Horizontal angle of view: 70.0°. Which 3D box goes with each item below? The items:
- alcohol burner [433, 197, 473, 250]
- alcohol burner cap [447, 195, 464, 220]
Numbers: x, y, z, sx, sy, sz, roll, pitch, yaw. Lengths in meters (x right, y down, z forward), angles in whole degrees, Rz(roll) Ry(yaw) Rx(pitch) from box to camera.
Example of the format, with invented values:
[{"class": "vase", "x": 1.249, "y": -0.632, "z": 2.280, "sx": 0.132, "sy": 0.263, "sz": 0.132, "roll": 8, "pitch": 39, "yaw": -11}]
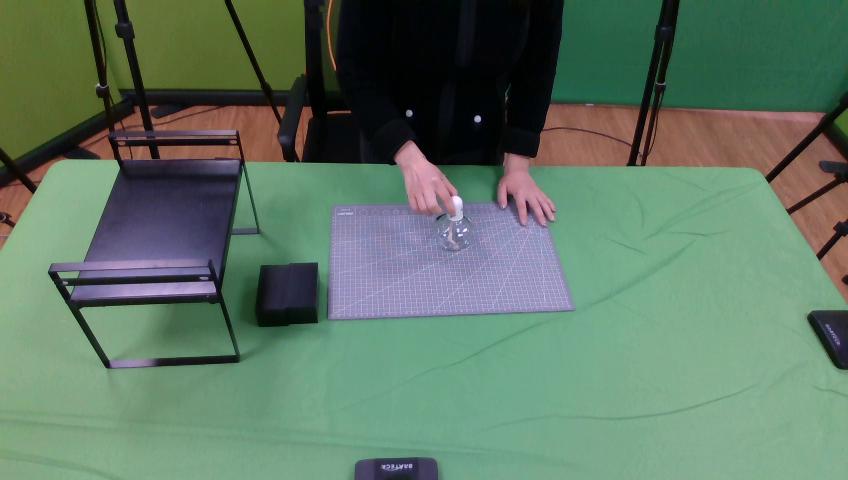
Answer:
[{"class": "alcohol burner", "x": 0.058, "y": -0.038, "z": 1.170, "sx": 0.078, "sy": 0.119, "sz": 0.077, "roll": 3, "pitch": 44, "yaw": -3}, {"class": "alcohol burner cap", "x": 0.060, "y": -0.063, "z": 1.143, "sx": 0.034, "sy": 0.048, "sz": 0.033, "roll": -1, "pitch": 43, "yaw": 1}]
